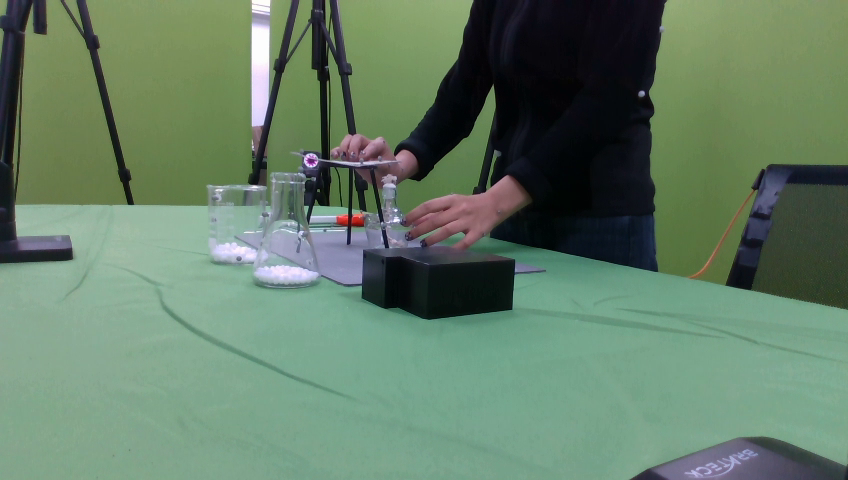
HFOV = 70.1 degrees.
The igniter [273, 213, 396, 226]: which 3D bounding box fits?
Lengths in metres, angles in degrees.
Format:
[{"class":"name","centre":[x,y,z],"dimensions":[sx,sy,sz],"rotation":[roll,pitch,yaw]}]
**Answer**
[{"class":"igniter","centre":[-0.178,-0.044,1.258],"dimensions":[0.278,0.025,0.057],"rotation":[-3,-1,-39]}]

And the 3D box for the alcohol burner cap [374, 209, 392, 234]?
[{"class":"alcohol burner cap","centre":[-0.078,-0.036,1.148],"dimensions":[0.034,0.048,0.034],"rotation":[2,7,0]}]

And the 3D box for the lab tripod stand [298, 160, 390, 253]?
[{"class":"lab tripod stand","centre":[-0.111,-0.050,0.893],"dimensions":[0.148,0.131,0.148],"rotation":[4,7,0]}]

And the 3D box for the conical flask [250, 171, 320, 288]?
[{"class":"conical flask","centre":[-0.150,-0.013,0.658],"dimensions":[0.075,0.122,0.075],"rotation":[2,7,0]}]

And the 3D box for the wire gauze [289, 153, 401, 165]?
[{"class":"wire gauze","centre":[-0.112,-0.116,0.883],"dimensions":[0.124,0.011,0.122],"rotation":[7,8,27]}]

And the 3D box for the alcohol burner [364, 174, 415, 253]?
[{"class":"alcohol burner","centre":[-0.053,-0.041,0.918],"dimensions":[0.078,0.119,0.078],"rotation":[0,7,0]}]

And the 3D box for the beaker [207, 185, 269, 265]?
[{"class":"beaker","centre":[-0.244,-0.021,0.784],"dimensions":[0.083,0.100,0.074],"rotation":[6,8,30]}]

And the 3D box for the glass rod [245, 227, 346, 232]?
[{"class":"glass rod","centre":[-0.237,-0.021,1.141],"dimensions":[0.201,0.008,0.008],"rotation":[-2,8,-32]}]
